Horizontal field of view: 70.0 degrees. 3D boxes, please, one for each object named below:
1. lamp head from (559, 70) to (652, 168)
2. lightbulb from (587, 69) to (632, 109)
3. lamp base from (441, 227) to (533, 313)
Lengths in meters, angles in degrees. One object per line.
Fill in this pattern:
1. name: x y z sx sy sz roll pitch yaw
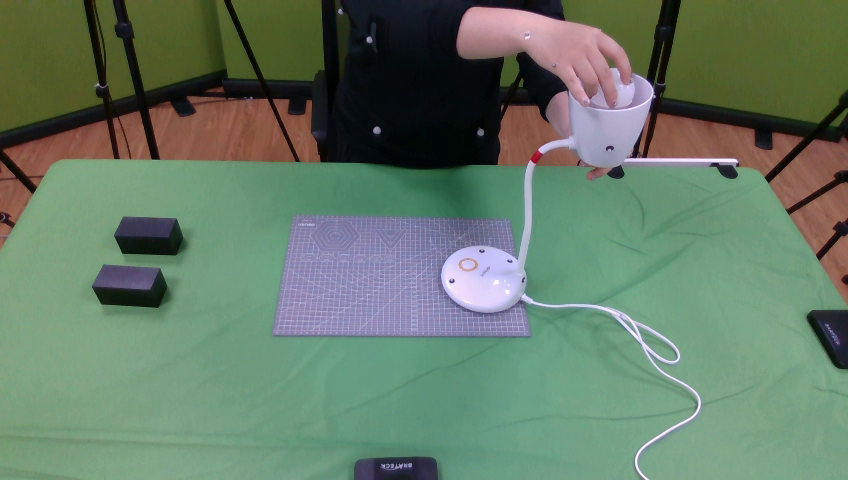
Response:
1. lamp head: 0.252 -0.163 0.860 0.112 0.123 0.111 0 42 0
2. lightbulb: 0.251 -0.180 0.833 0.059 0.108 0.059 5 17 -1
3. lamp base: 0.126 0.022 1.071 0.179 0.181 0.160 23 49 14
